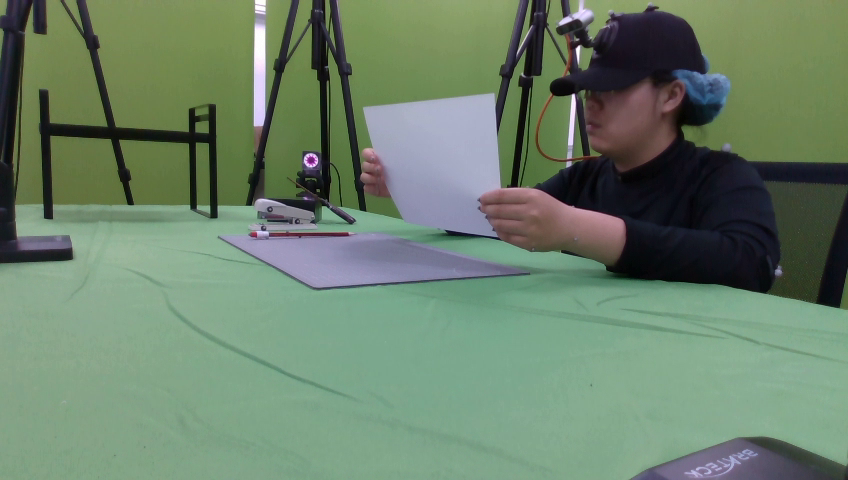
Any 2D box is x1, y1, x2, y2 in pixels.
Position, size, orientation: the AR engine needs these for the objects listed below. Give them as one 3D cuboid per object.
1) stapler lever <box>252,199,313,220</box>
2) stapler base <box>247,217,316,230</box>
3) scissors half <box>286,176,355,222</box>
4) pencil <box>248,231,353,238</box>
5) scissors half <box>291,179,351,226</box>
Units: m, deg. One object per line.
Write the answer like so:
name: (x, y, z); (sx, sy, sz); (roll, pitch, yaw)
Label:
stapler lever: (-0.273, -0.058, 1.170); (0.119, 0.040, 0.026); (0, 10, -37)
stapler base: (-0.276, -0.033, 1.172); (0.131, 0.024, 0.041); (0, 10, -37)
scissors half: (-0.229, -0.091, 1.337); (0.175, 0.013, 0.040); (33, 15, -13)
pencil: (-0.206, -0.009, 1.039); (0.195, 0.012, 0.012); (0, 8, -36)
scissors half: (-0.232, -0.085, 1.318); (0.175, 0.013, 0.040); (38, 20, 4)
